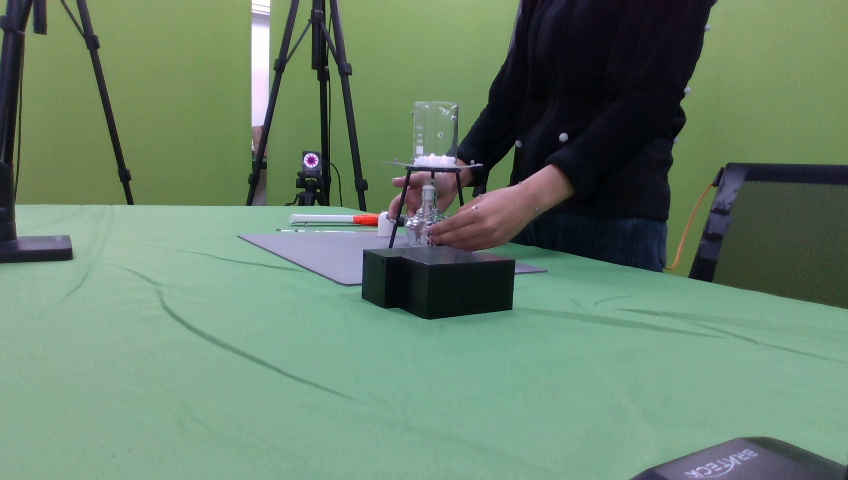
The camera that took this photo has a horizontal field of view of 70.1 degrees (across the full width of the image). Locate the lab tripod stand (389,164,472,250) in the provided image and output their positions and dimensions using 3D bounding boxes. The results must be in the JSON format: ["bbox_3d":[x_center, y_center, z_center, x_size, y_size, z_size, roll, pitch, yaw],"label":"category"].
[{"bbox_3d":[0.011,-0.054,0.960,0.148,0.131,0.148,2,9,0],"label":"lab tripod stand"}]

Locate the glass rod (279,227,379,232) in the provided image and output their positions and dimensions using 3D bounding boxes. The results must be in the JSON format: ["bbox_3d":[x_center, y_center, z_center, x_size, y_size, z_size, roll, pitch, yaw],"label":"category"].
[{"bbox_3d":[-0.175,-0.021,1.161,0.200,0.008,0.008,1,7,-15],"label":"glass rod"}]

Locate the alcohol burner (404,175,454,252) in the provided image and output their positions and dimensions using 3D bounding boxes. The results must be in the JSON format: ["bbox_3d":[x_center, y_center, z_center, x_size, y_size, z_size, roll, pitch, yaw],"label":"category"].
[{"bbox_3d":[0.008,-0.042,0.944,0.078,0.119,0.078,0,8,0],"label":"alcohol burner"}]

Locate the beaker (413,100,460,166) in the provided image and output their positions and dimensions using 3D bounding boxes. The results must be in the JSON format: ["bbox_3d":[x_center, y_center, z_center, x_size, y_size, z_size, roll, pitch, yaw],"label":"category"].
[{"bbox_3d":[0.020,-0.167,0.953,0.073,0.100,0.084,5,9,26],"label":"beaker"}]

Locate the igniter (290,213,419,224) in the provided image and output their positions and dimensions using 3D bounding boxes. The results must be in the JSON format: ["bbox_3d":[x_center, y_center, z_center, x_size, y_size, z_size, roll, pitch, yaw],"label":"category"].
[{"bbox_3d":[-0.143,-0.046,1.288,0.278,0.025,0.057,-1,-3,-24],"label":"igniter"}]

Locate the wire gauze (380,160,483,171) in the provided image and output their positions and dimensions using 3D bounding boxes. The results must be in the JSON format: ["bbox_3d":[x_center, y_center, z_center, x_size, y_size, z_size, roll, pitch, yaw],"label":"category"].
[{"bbox_3d":[0.011,-0.119,0.951,0.122,0.011,0.124,-5,12,-32],"label":"wire gauze"}]

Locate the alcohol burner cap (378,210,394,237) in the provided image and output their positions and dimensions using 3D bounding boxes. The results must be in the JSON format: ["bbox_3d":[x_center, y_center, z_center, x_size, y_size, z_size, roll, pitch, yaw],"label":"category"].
[{"bbox_3d":[-0.069,-0.031,1.112,0.034,0.048,0.034,0,9,0],"label":"alcohol burner cap"}]
